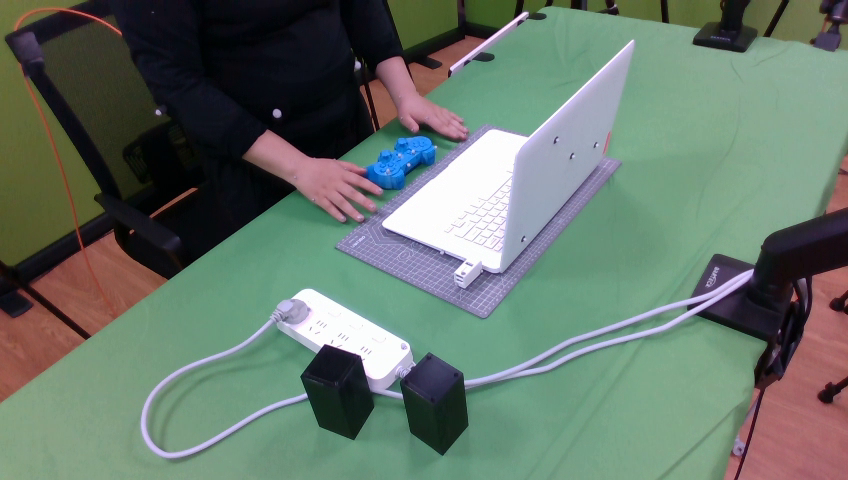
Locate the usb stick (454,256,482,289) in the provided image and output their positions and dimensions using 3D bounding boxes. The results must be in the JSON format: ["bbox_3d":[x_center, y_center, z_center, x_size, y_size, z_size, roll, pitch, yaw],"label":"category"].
[{"bbox_3d":[0.069,0.044,0.891,0.021,0.027,0.059,22,44,32],"label":"usb stick"}]

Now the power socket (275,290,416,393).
[{"bbox_3d":[-0.114,0.132,0.821,0.225,0.033,0.072,24,48,32],"label":"power socket"}]

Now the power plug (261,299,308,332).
[{"bbox_3d":[-0.193,0.109,0.830,0.073,0.053,0.035,-35,47,-23],"label":"power plug"}]

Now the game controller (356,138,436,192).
[{"bbox_3d":[-0.048,-0.149,1.136,0.096,0.052,0.155,27,51,28],"label":"game controller"}]

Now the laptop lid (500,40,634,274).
[{"bbox_3d":[0.218,-0.128,0.906,0.013,0.242,0.358,28,50,25],"label":"laptop lid"}]

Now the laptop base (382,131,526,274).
[{"bbox_3d":[0.123,-0.081,1.049,0.233,0.023,0.355,20,47,33],"label":"laptop base"}]
